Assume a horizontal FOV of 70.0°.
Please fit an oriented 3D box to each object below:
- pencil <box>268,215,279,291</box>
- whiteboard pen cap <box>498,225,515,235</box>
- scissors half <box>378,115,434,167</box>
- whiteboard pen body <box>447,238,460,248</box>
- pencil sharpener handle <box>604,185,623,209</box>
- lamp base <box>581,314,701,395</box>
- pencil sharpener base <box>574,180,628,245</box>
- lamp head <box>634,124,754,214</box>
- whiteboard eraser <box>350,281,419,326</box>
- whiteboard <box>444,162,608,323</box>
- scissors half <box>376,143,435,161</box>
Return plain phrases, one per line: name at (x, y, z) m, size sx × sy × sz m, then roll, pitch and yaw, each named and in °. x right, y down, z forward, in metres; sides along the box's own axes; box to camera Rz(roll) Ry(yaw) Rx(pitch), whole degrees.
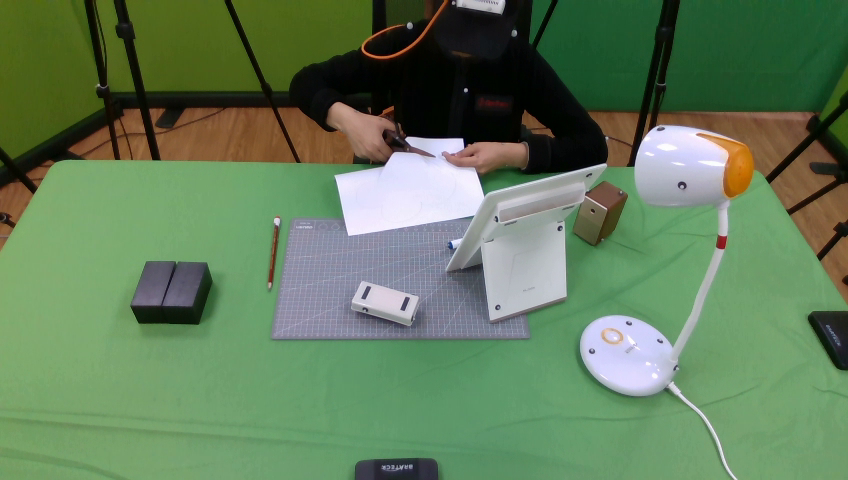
pencil at (-0.290, 0.022, 1.164) m, size 0.012 × 0.012 × 0.192 m, roll -2°, pitch 48°, yaw -6°
whiteboard pen cap at (0.166, -0.019, 1.222) m, size 0.033 × 0.018 × 0.018 m, roll -15°, pitch 49°, yaw -19°
scissors half at (-0.039, -0.214, 1.310) m, size 0.013 × 0.040 × 0.174 m, roll -29°, pitch 67°, yaw -40°
whiteboard pen body at (0.112, -0.005, 1.204) m, size 0.141 × 0.017 × 0.017 m, roll -14°, pitch 49°, yaw -18°
pencil sharpener handle at (0.390, -0.091, 1.235) m, size 0.030 × 0.068 × 0.036 m, roll -33°, pitch 69°, yaw -31°
lamp base at (0.361, 0.144, 0.972) m, size 0.178 × 0.181 × 0.160 m, roll 34°, pitch 53°, yaw 23°
pencil sharpener base at (0.356, -0.056, 1.217) m, size 0.076 × 0.107 × 0.061 m, roll -33°, pitch 56°, yaw -31°
lamp head at (0.351, -0.089, 0.775) m, size 0.112 × 0.113 × 0.122 m, roll -30°, pitch 30°, yaw -28°
whiteboard eraser at (-0.069, 0.113, 1.065) m, size 0.112 × 0.042 × 0.055 m, roll 14°, pitch 46°, yaw 9°
whiteboard at (0.186, 0.025, 1.029) m, size 0.217 × 0.306 × 0.143 m, roll -14°, pitch 68°, yaw -17°
scissors half at (-0.042, -0.193, 1.323) m, size 0.174 × 0.040 × 0.013 m, roll 8°, pitch 23°, yaw 41°
